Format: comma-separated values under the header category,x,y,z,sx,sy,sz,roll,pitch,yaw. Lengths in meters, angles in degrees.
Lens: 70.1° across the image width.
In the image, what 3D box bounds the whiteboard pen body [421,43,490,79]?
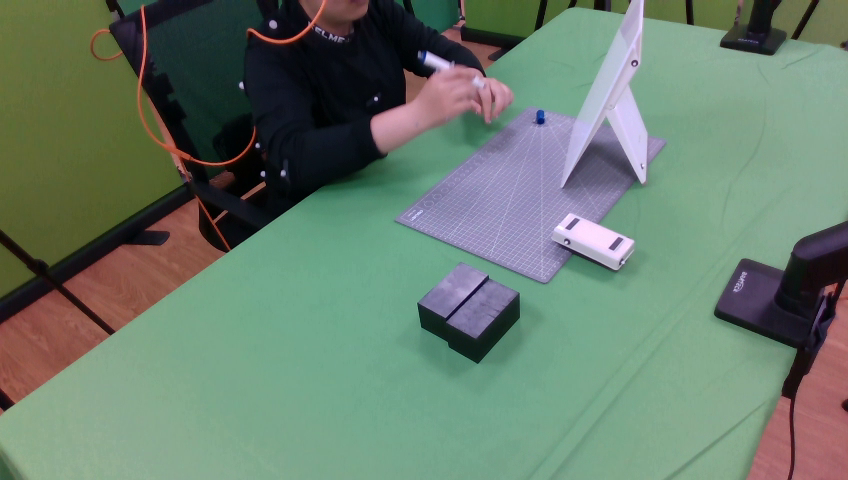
category,x,y,z,sx,sy,sz,roll,pitch,yaw
whiteboard pen body,0.057,-0.304,1.040,0.142,0.017,0.017,17,32,-28

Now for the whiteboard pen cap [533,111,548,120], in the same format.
category,x,y,z,sx,sy,sz,roll,pitch,yaw
whiteboard pen cap,0.238,-0.255,1.238,0.018,0.018,0.033,-28,27,-22

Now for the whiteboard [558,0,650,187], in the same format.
category,x,y,z,sx,sy,sz,roll,pitch,yaw
whiteboard,0.362,-0.238,1.026,0.144,0.306,0.217,21,44,4

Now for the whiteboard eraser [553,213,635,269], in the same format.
category,x,y,z,sx,sy,sz,roll,pitch,yaw
whiteboard eraser,0.257,0.003,0.918,0.112,0.042,0.056,27,49,30
